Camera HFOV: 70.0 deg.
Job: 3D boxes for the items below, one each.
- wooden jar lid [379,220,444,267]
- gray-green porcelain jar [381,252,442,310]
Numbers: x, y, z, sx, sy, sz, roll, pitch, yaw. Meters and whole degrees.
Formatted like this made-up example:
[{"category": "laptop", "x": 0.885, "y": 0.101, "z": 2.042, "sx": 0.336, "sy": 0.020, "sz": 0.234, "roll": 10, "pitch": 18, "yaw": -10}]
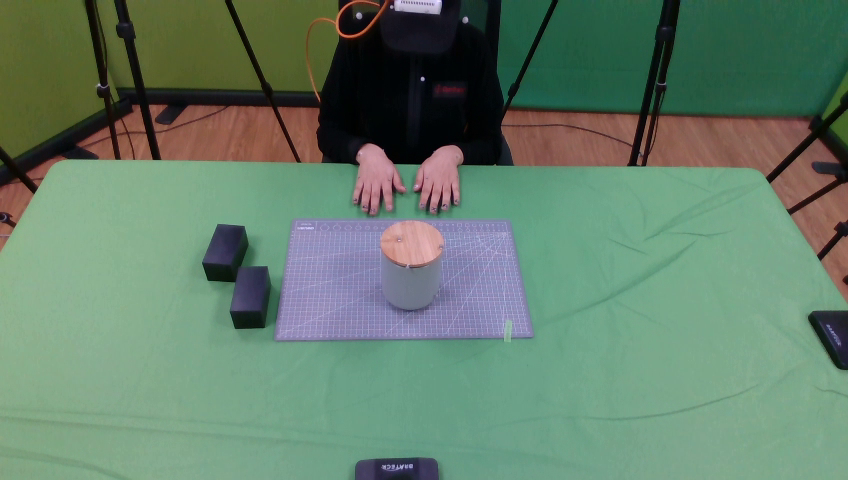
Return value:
[{"category": "wooden jar lid", "x": -0.021, "y": 0.009, "z": 1.021, "sx": 0.108, "sy": 0.021, "sz": 0.107, "roll": 3, "pitch": 45, "yaw": -2}, {"category": "gray-green porcelain jar", "x": -0.023, "y": 0.053, "z": 1.068, "sx": 0.106, "sy": 0.127, "sz": 0.105, "roll": 2, "pitch": 46, "yaw": -2}]
